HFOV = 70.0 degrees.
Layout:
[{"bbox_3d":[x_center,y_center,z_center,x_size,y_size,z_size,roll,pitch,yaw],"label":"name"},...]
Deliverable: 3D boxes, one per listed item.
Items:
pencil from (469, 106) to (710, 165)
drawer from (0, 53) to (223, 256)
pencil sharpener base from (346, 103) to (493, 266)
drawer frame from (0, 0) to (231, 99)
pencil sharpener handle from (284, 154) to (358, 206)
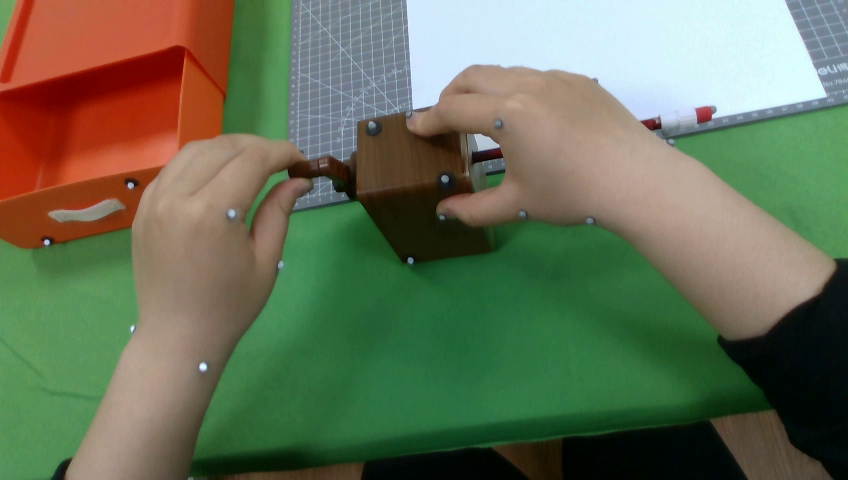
[{"bbox_3d":[0.071,-0.058,0.368,0.194,0.012,0.012,-10,63,10],"label":"pencil"},{"bbox_3d":[-0.282,-0.105,0.538,0.194,0.074,0.210,-12,62,10],"label":"drawer"},{"bbox_3d":[0.000,-0.032,0.410,0.076,0.108,0.061,-9,63,12],"label":"pencil sharpener base"},{"bbox_3d":[-0.294,-0.210,0.589,0.201,0.083,0.211,-12,62,10],"label":"drawer frame"},{"bbox_3d":[-0.060,-0.037,0.380,0.030,0.068,0.036,-9,84,12],"label":"pencil sharpener handle"}]
